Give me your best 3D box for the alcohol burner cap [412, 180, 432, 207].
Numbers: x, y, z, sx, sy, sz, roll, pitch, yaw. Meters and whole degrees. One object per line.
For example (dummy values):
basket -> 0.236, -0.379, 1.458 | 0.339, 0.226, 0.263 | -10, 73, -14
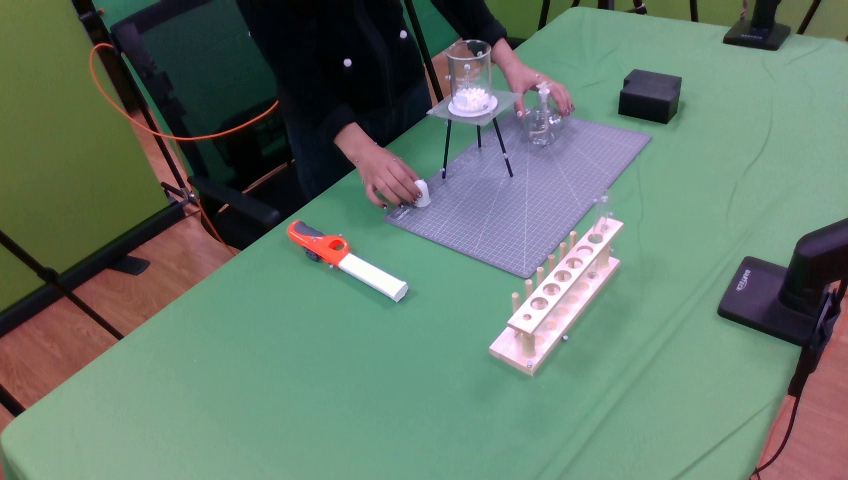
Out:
alcohol burner cap -> -0.007, -0.085, 1.065 | 0.034, 0.048, 0.033 | -7, 45, 7

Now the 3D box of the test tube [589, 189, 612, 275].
test tube -> 0.238, -0.007, 0.818 | 0.017, 0.151, 0.017 | -3, 43, 4

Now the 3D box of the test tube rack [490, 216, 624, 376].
test tube rack -> 0.184, 0.064, 0.822 | 0.066, 0.085, 0.243 | 24, 50, 33

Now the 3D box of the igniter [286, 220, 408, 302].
igniter -> -0.134, 0.028, 0.969 | 0.274, 0.025, 0.057 | 26, 61, 35

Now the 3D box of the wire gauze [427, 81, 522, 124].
wire gauze -> 0.088, -0.237, 1.051 | 0.120, 0.011, 0.125 | 23, 47, 29

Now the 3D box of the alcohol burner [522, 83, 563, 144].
alcohol burner -> 0.227, -0.244, 1.151 | 0.078, 0.119, 0.077 | -4, 42, 4

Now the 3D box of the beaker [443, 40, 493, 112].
beaker -> 0.076, -0.276, 1.023 | 0.083, 0.101, 0.074 | 5, 42, 15

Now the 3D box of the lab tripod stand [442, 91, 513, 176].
lab tripod stand -> 0.096, -0.190, 1.096 | 0.148, 0.132, 0.147 | -4, 40, 4
